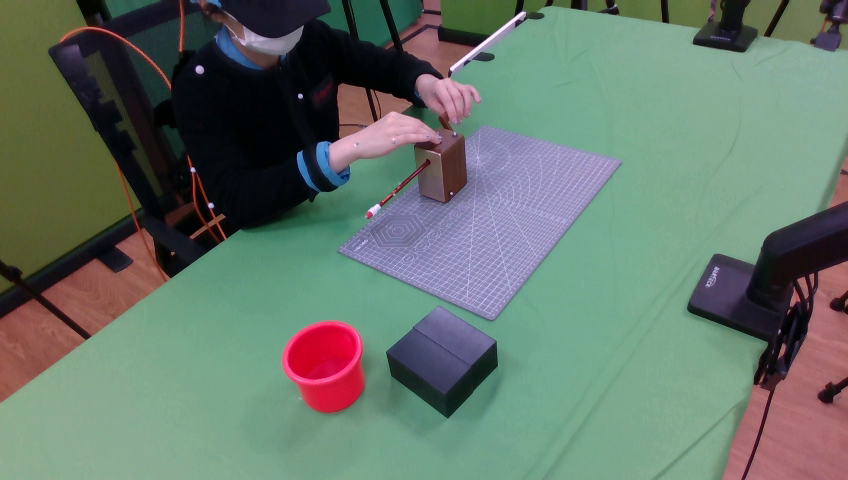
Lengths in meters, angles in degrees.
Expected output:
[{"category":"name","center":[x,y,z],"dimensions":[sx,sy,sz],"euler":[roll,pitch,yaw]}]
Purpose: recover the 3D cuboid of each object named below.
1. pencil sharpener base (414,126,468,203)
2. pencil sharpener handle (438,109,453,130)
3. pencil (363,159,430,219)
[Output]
[{"category":"pencil sharpener base","center":[0.032,-0.132,1.047],"dimensions":[0.061,0.107,0.077],"euler":[21,48,30]},{"category":"pencil sharpener handle","center":[0.051,-0.194,1.055],"dimensions":[0.036,0.068,0.031],"euler":[-13,26,50]},{"category":"pencil","center":[-0.031,-0.094,0.977],"dimensions":[0.012,0.012,0.194],"euler":[24,53,32]}]
